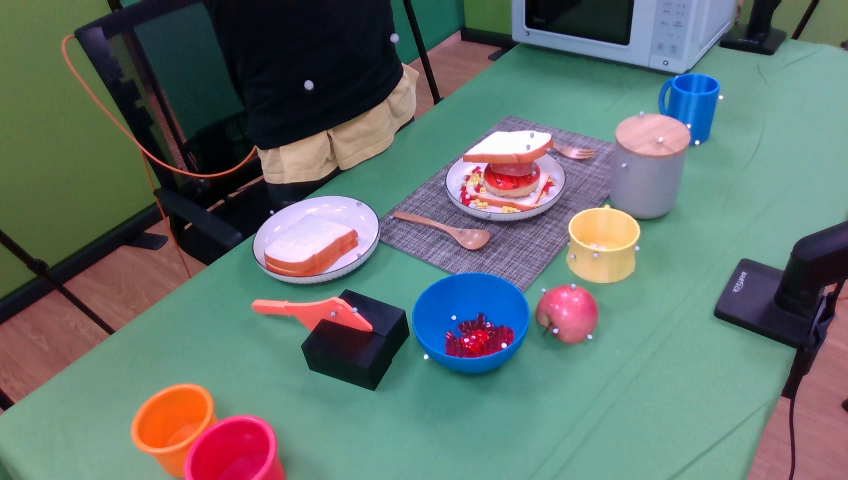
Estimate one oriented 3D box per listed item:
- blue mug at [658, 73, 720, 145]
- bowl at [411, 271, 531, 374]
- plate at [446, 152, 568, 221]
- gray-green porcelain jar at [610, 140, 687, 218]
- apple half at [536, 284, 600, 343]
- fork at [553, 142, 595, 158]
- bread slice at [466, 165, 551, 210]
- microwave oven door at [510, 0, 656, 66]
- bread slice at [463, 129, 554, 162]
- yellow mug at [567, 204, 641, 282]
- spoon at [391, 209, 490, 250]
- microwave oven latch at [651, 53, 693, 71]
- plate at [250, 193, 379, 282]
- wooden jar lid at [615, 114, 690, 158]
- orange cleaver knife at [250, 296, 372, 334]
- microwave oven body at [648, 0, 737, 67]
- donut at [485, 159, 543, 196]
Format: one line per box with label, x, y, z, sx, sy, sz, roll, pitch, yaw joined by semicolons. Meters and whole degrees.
blue mug;0.483;-0.250;1.127;0.082;0.106;0.115;-26;44;-19
bowl;0.062;0.119;0.780;0.151;0.077;0.150;-4;40;4
plate;0.142;-0.097;1.045;0.207;0.039;0.206;-4;40;4
gray-green porcelain jar;0.354;-0.107;0.964;0.106;0.127;0.105;-4;41;4
apple half;0.196;0.091;0.815;0.075;0.053;0.080;-22;42;-20
fork;0.225;-0.186;1.151;0.206;0.019;0.028;21;59;27
bread slice;0.141;-0.093;1.041;0.133;0.018;0.107;8;42;20
microwave oven door;0.350;-0.539;1.348;0.353;0.245;0.039;24;50;31
bread slice;0.143;-0.154;0.974;0.130;0.019;0.105;9;35;38
yellow mug;0.268;-0.005;0.905;0.099;0.064;0.130;6;42;15
spoon;0.023;-0.024;0.989;0.192;0.022;0.041;21;71;28
microwave oven latch;0.532;-0.386;1.301;0.078;0.029;0.030;27;52;34
plate;-0.174;-0.001;0.984;0.209;0.038;0.208;-4;40;4
wooden jar lid;0.347;-0.155;0.923;0.108;0.021;0.108;-3;44;4
orange cleaver knife;-0.159;0.103;0.828;0.210;0.078;0.012;-3;43;39
microwave oven body;0.475;-0.602;1.411;0.438;0.261;0.327;23;50;32
donut;0.151;-0.112;1.018;0.099;0.048;0.098;-4;40;4
